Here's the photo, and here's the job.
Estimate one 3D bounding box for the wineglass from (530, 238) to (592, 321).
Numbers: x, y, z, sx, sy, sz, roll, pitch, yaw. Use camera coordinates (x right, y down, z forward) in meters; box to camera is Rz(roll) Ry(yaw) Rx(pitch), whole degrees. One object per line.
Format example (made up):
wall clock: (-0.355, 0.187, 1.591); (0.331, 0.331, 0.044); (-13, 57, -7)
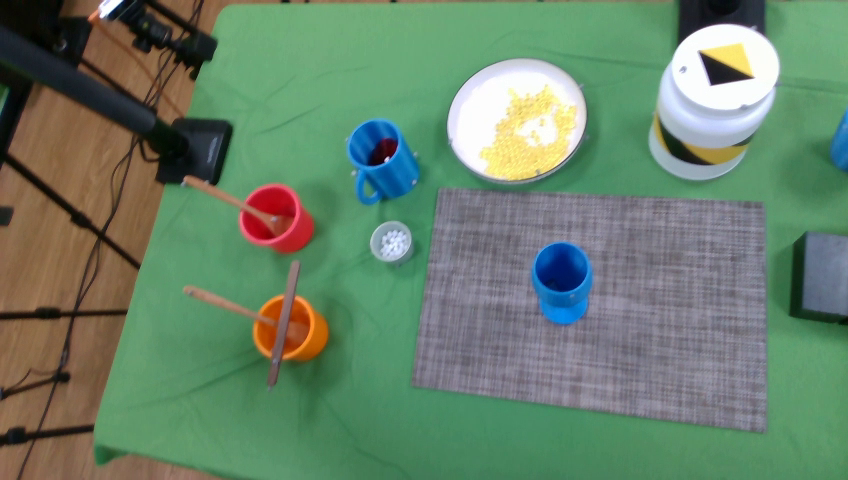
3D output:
wineglass: (0.170, 0.053, 0.751); (0.073, 0.173, 0.073); (-4, 71, 12)

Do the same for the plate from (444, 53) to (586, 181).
plate: (0.136, -0.182, 0.912); (0.209, 0.038, 0.208); (-4, 73, 12)

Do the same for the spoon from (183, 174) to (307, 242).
spoon: (-0.265, -0.051, 0.906); (0.195, 0.021, 0.041); (30, 79, -24)

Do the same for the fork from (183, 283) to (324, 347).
fork: (-0.235, 0.104, 0.847); (0.209, 0.018, 0.028); (27, 84, -25)

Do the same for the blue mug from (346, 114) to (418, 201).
blue mug: (-0.069, -0.111, 0.901); (0.082, 0.106, 0.116); (25, 80, 19)

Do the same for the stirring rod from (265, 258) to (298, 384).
stirring rod: (-0.195, 0.109, 0.832); (0.014, 0.006, 0.175); (3, 74, 15)

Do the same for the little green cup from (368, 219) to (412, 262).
little green cup: (-0.047, 0.003, 0.895); (0.061, 0.039, 0.061); (-4, 72, 13)

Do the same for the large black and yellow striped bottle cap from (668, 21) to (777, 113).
large black and yellow striped bottle cap: (0.344, -0.201, 0.700); (0.115, 0.019, 0.114); (-4, 71, 11)

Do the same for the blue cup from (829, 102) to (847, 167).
blue cup: (0.562, -0.138, 0.763); (0.092, 0.101, 0.092); (-4, 72, 14)

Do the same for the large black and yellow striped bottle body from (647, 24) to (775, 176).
large black and yellow striped bottle body: (0.364, -0.175, 0.778); (0.130, 0.185, 0.130); (-4, 72, 12)
